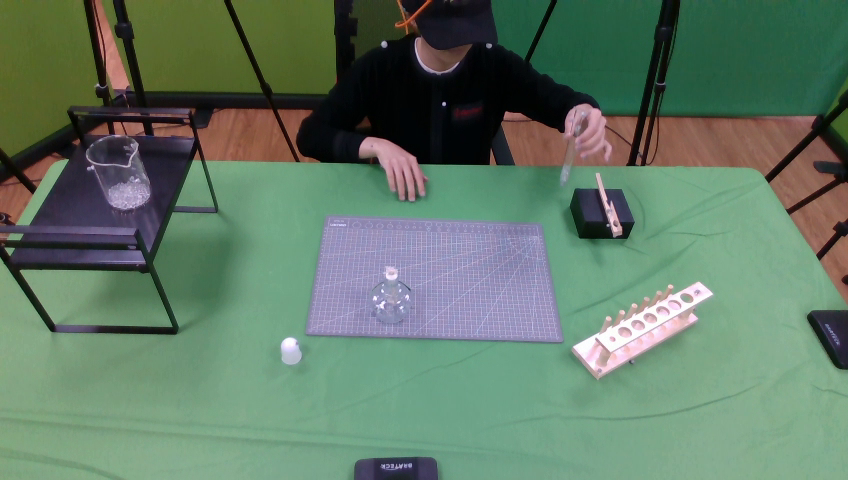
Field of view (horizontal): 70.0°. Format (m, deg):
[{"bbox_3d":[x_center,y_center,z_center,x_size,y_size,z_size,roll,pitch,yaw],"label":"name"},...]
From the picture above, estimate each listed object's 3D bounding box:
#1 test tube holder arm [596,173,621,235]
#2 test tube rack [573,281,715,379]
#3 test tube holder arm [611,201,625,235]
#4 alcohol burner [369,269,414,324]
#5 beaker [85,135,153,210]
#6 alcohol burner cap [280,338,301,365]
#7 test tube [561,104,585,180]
[{"bbox_3d":[0.373,-0.076,1.229,0.013,0.015,0.177,-6,45,2],"label":"test tube holder arm"},{"bbox_3d":[0.378,0.140,1.038,0.242,0.085,0.066,-22,51,-23],"label":"test tube rack"},{"bbox_3d":[0.380,-0.045,1.196,0.010,0.015,0.087,-5,45,2],"label":"test tube holder arm"},{"bbox_3d":[-0.056,0.089,1.037,0.078,0.120,0.077,1,47,-1],"label":"alcohol burner"},{"bbox_3d":[-0.475,-0.102,0.957,0.083,0.101,0.074,34,53,26],"label":"beaker"},{"bbox_3d":[-0.220,0.179,0.993,0.034,0.048,0.033,2,46,-2],"label":"alcohol burner cap"},{"bbox_3d":[0.265,-0.172,1.082,0.017,0.151,0.017,2,40,-1],"label":"test tube"}]
